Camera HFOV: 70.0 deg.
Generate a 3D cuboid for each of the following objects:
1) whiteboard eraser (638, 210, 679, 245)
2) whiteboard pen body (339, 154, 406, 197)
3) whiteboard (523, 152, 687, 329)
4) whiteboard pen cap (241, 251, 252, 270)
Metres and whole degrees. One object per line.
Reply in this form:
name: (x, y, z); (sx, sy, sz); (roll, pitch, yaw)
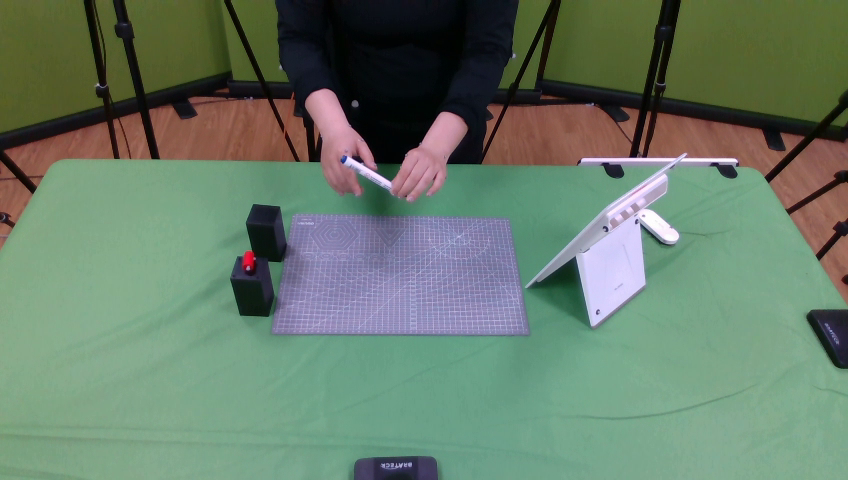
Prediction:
whiteboard eraser: (0.485, -0.027, 1.260); (0.041, 0.019, 0.100); (-21, 50, -21)
whiteboard pen body: (-0.086, -0.106, 1.038); (0.141, 0.017, 0.016); (30, 36, -30)
whiteboard: (0.346, 0.024, 1.047); (0.217, 0.306, 0.143); (-30, 74, -29)
whiteboard pen cap: (-0.294, 0.033, 1.005); (0.017, 0.017, 0.032); (-3, 44, -7)
